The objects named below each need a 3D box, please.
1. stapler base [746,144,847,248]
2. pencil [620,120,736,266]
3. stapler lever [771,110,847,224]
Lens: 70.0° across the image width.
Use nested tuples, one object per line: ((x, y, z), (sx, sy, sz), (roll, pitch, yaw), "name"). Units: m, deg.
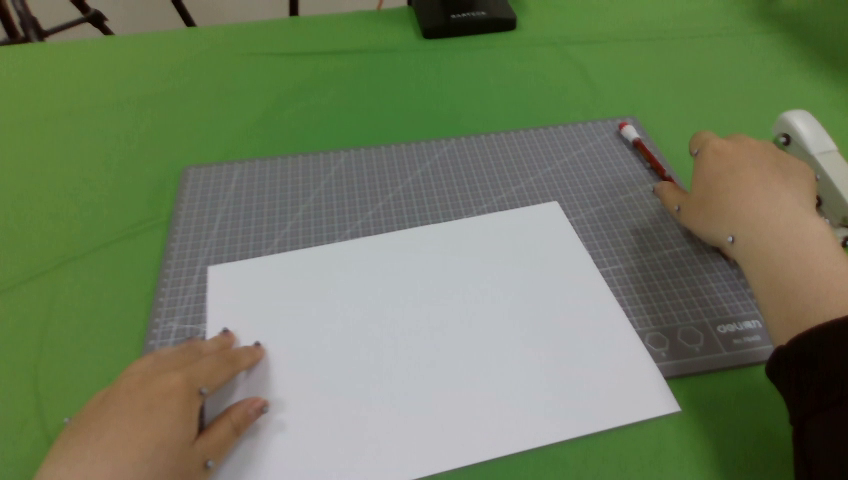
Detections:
((0.335, -0.048, 0.525), (0.041, 0.024, 0.129), (-13, 48, -7), "stapler base")
((0.220, -0.048, 0.535), (0.012, 0.012, 0.192), (-11, 48, -8), "pencil")
((0.335, -0.064, 0.506), (0.027, 0.040, 0.116), (-13, 49, -7), "stapler lever")
